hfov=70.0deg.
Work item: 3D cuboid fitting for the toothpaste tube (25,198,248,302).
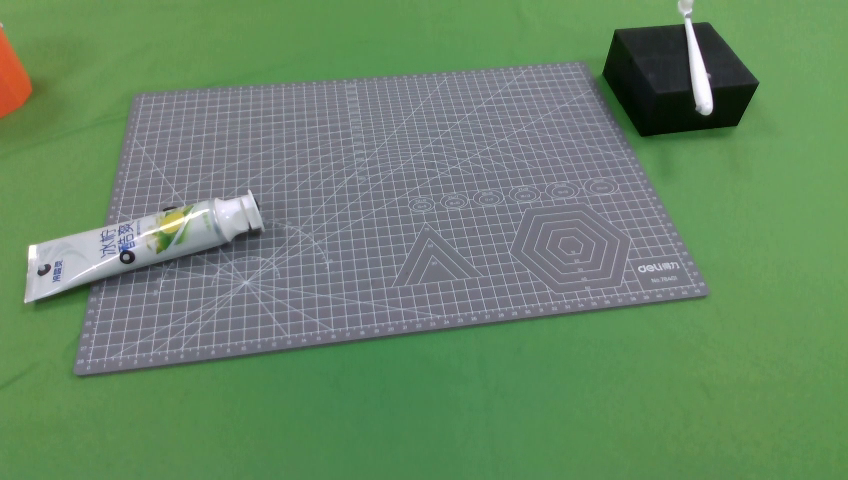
[{"bbox_3d":[-0.211,-0.001,0.453,0.165,0.035,0.054,-17,48,-10],"label":"toothpaste tube"}]

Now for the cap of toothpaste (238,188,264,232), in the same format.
[{"bbox_3d":[-0.133,-0.022,0.465,0.011,0.037,0.037,-22,54,-19],"label":"cap of toothpaste"}]

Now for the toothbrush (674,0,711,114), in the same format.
[{"bbox_3d":[0.248,-0.178,0.560,0.014,0.017,0.180,9,52,3],"label":"toothbrush"}]

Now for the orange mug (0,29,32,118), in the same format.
[{"bbox_3d":[-0.428,-0.156,0.527,0.083,0.101,0.126,27,51,18],"label":"orange mug"}]
